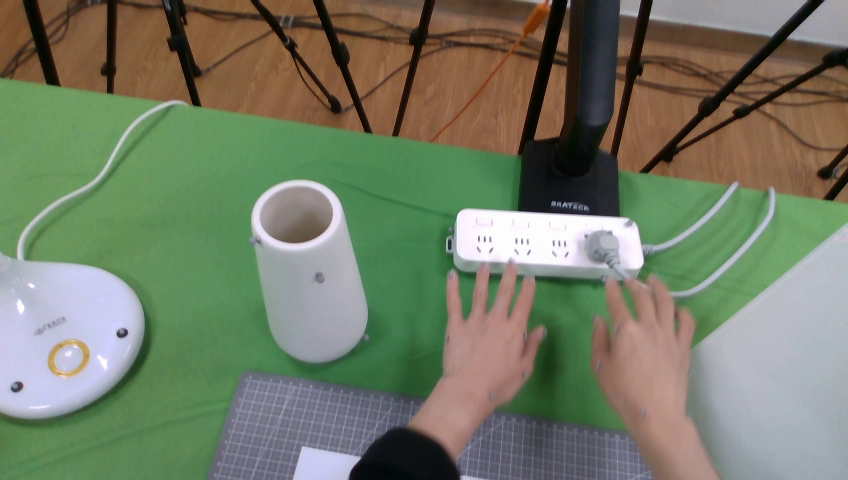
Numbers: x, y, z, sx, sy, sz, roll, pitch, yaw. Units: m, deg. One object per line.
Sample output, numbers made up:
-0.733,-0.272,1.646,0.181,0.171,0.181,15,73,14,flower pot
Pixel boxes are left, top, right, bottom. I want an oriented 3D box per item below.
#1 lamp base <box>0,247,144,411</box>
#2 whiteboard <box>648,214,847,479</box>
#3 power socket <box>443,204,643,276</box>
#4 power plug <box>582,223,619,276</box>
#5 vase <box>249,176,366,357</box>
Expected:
-0.366,0.041,0.536,0.178,0.182,0.160,37,62,22,lamp base
0.386,0.114,0.504,0.144,0.307,0.215,-9,55,-32,whiteboard
0.136,0.000,0.686,0.227,0.033,0.071,4,58,-2,power socket
0.187,0.014,0.653,0.035,0.053,0.072,11,59,4,power plug
-0.106,0.030,0.551,0.098,0.201,0.097,1,56,-1,vase
